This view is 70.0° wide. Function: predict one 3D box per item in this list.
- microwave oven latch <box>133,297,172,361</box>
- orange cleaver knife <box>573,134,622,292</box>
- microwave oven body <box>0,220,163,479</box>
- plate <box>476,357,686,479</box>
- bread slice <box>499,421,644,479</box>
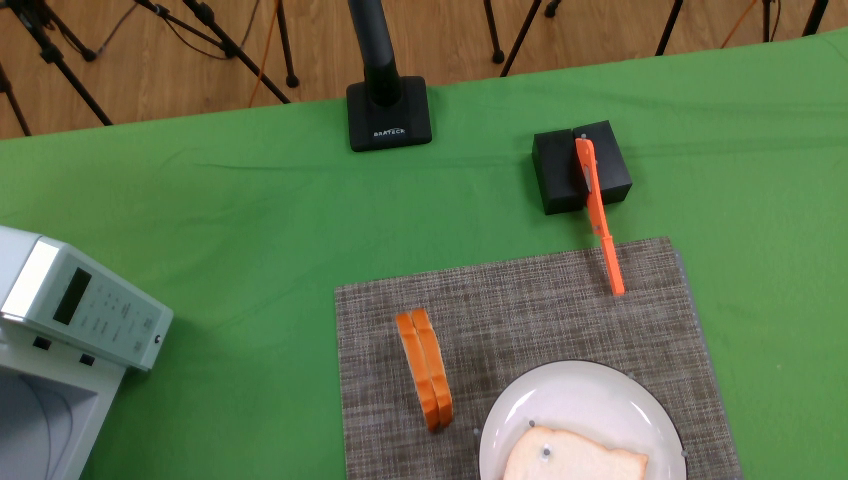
[{"bbox_3d":[-0.346,0.110,0.763,0.030,0.030,0.079,14,70,9],"label":"microwave oven latch"},{"bbox_3d":[0.221,-0.038,0.780,0.012,0.077,0.211,-12,89,1],"label":"orange cleaver knife"},{"bbox_3d":[-0.541,0.201,0.634,0.325,0.262,0.439,13,70,8],"label":"microwave oven body"},{"bbox_3d":[0.157,0.227,0.623,0.207,0.039,0.206,-2,69,5],"label":"plate"},{"bbox_3d":[0.145,0.245,0.614,0.134,0.018,0.106,14,68,12],"label":"bread slice"}]
